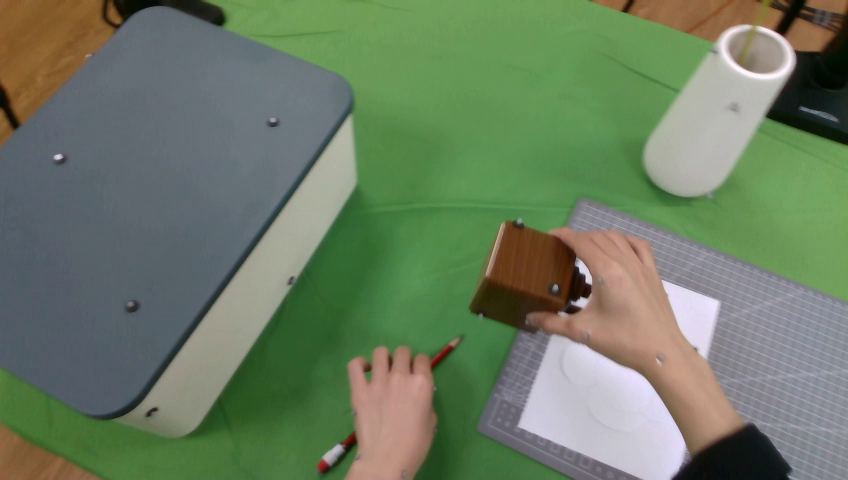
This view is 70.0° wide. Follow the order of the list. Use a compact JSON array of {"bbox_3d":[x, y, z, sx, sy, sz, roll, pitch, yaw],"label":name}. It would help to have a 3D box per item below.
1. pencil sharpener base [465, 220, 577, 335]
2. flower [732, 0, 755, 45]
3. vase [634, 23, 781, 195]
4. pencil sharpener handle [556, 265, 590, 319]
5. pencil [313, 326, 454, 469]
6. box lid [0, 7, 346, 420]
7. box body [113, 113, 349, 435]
[{"bbox_3d":[0.087,0.038,0.548,0.076,0.107,0.061,18,67,2],"label":"pencil sharpener base"},{"bbox_3d":[0.298,-0.185,0.584,0.044,0.365,0.038,16,46,12],"label":"flower"},{"bbox_3d":[0.298,-0.134,0.652,0.098,0.201,0.097,0,62,1],"label":"vase"},{"bbox_3d":[0.136,0.051,0.535,0.030,0.068,0.036,18,63,2],"label":"pencil sharpener handle"},{"bbox_3d":[-0.036,0.154,0.608,0.012,0.012,0.194,41,73,19],"label":"pencil"},{"bbox_3d":[-0.261,-0.056,0.542,0.262,0.015,0.370,24,65,10],"label":"box lid"},{"bbox_3d":[-0.262,-0.019,0.608,0.253,0.161,0.362,23,65,11],"label":"box body"}]
